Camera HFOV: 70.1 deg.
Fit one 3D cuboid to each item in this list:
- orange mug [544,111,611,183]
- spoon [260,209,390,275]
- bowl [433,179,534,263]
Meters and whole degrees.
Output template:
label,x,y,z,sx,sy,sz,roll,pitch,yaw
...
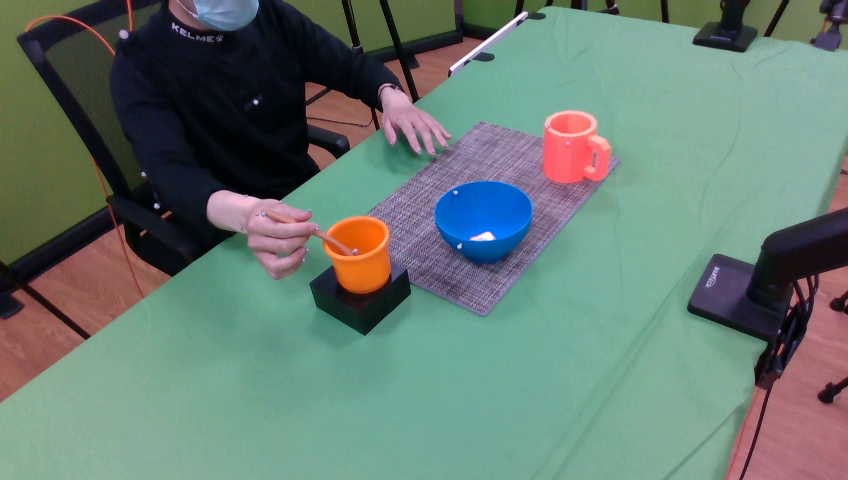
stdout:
label,x,y,z,sx,sy,sz,roll,pitch,yaw
orange mug,0.266,-0.157,1.049,0.084,0.101,0.125,-32,42,-26
spoon,-0.129,0.002,0.811,0.021,0.195,0.041,-48,28,21
bowl,0.093,-0.018,0.928,0.151,0.077,0.150,-4,41,4
